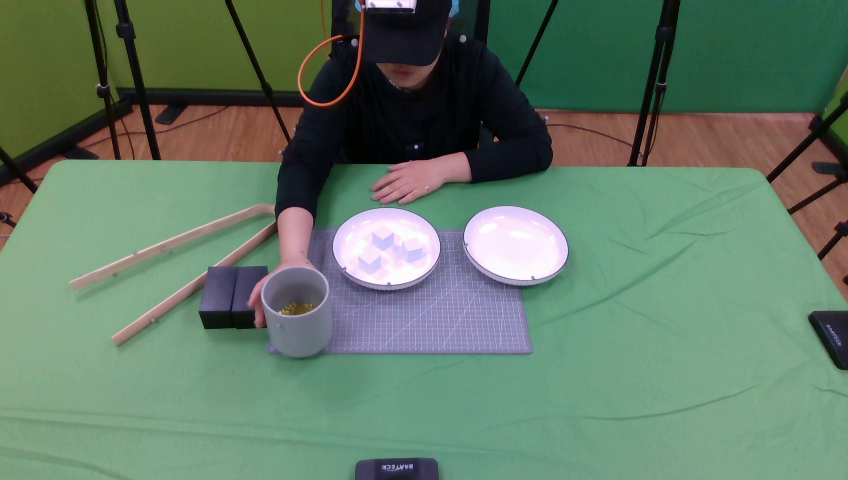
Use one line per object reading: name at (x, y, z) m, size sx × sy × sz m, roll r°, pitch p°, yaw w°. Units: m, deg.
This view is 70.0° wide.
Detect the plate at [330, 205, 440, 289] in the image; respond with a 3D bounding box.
plate at (-0.074, 0.017, 1.160) m, size 0.208 × 0.039 × 0.206 m, roll 2°, pitch 46°, yaw -2°

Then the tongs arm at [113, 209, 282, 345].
tongs arm at (-0.397, 0.059, 1.111) m, size 0.028 × 0.028 × 0.387 m, roll 29°, pitch 51°, yaw 24°

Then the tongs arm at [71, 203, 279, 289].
tongs arm at (-0.455, 0.011, 1.144) m, size 0.385 × 0.026 × 0.050 m, roll -29°, pitch 56°, yaw -29°

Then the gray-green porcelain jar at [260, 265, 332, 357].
gray-green porcelain jar at (-0.205, 0.121, 0.989) m, size 0.106 × 0.127 × 0.105 m, roll 2°, pitch 46°, yaw -2°

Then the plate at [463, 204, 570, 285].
plate at (0.178, 0.012, 1.184) m, size 0.209 × 0.038 × 0.208 m, roll 3°, pitch 46°, yaw -3°
